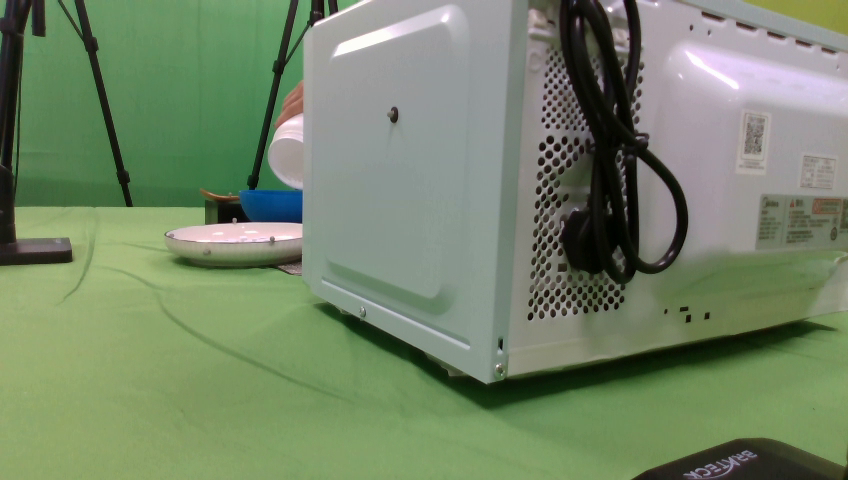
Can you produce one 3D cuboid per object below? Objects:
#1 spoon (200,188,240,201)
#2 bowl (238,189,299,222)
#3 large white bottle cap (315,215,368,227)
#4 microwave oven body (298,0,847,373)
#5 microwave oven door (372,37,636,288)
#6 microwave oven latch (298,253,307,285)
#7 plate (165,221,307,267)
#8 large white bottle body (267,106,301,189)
[{"bbox_3d":[-0.338,-0.080,1.190,0.194,0.021,0.041,5,3,-19],"label":"spoon"},{"bbox_3d":[-0.245,-0.046,1.052,0.151,0.077,0.151,2,8,0],"label":"bowl"},{"bbox_3d":[-0.177,-0.041,1.309,0.115,0.018,0.115,2,6,0],"label":"large white bottle cap"},{"bbox_3d":[0.151,-0.055,0.542,0.444,0.260,0.324,-2,7,-33],"label":"microwave oven body"},{"bbox_3d":[0.110,-0.080,0.686,0.358,0.243,0.039,-2,9,-33],"label":"microwave oven door"},{"bbox_3d":[-0.081,0.027,0.582,0.079,0.029,0.030,-1,7,-32],"label":"microwave oven latch"},{"bbox_3d":[-0.241,0.004,0.829,0.209,0.038,0.209,0,9,0],"label":"plate"},{"bbox_3d":[-0.207,-0.189,1.152,0.130,0.131,0.184,5,38,17],"label":"large white bottle body"}]
